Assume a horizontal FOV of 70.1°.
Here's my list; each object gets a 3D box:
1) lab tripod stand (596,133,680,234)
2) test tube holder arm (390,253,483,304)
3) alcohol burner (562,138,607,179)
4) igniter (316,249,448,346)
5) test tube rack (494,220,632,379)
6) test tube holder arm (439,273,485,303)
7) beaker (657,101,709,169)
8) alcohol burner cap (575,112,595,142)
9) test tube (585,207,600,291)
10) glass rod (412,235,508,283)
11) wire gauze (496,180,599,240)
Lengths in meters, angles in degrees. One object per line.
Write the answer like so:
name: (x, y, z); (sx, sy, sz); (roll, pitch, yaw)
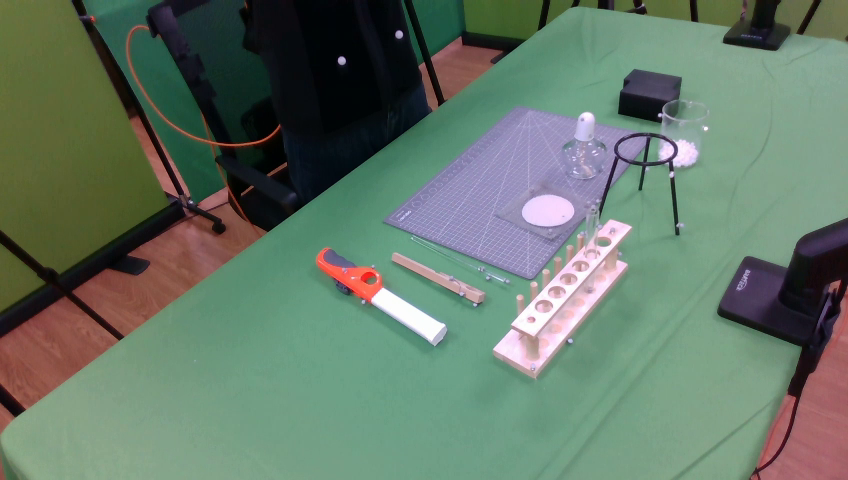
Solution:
lab tripod stand: (0.338, -0.091, 0.940); (0.148, 0.132, 0.147); (-7, 39, 6)
test tube holder arm: (0.015, 0.056, 0.916); (0.177, 0.015, 0.013); (24, 15, 33)
alcohol burner: (0.280, -0.167, 1.052); (0.078, 0.119, 0.077); (-5, 38, 4)
igniter: (-0.074, 0.078, 0.902); (0.274, 0.025, 0.057); (28, 63, 36)
test tube rack: (0.191, 0.068, 0.818); (0.066, 0.085, 0.243); (25, 51, 35)
test tube holder arm: (0.053, 0.070, 0.896); (0.087, 0.015, 0.010); (24, 15, 34)
beaker: (0.449, -0.183, 1.054); (0.073, 0.101, 0.084); (15, 45, 27)
alcohol burner cap: (0.276, -0.194, 1.028); (0.034, 0.048, 0.033); (-2, 45, 3)
test tube: (0.222, 0.016, 0.797); (0.017, 0.151, 0.017); (-6, 45, 7)
glass rod: (0.051, 0.028, 0.951); (0.198, 0.008, 0.008); (25, 51, 37)
wire gauze: (0.206, -0.050, 1.012); (0.125, 0.011, 0.120); (-34, 45, -26)
